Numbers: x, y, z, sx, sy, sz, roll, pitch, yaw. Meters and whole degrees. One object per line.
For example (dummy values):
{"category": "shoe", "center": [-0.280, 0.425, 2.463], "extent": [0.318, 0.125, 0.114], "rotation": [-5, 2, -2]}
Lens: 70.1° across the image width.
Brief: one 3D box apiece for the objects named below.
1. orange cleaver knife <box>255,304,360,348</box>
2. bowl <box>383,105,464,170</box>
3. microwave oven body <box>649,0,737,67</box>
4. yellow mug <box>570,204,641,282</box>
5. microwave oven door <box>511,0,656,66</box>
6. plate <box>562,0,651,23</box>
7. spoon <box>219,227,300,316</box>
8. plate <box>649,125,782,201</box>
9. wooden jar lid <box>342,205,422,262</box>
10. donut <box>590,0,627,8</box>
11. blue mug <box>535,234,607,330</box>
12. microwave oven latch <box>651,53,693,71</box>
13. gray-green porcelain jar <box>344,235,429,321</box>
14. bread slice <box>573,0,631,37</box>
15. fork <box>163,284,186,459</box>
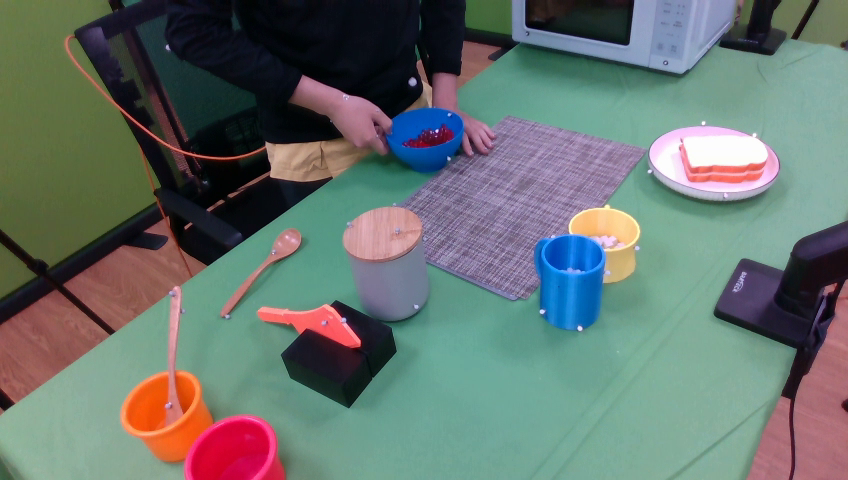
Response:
{"category": "orange cleaver knife", "center": [-0.161, 0.115, 0.813], "extent": [0.210, 0.077, 0.012], "rotation": [-4, 32, 46]}
{"category": "bowl", "center": [0.002, -0.185, 1.143], "extent": [0.151, 0.077, 0.150], "rotation": [-4, 41, 4]}
{"category": "microwave oven body", "center": [0.475, -0.602, 1.411], "extent": [0.438, 0.261, 0.327], "rotation": [23, 50, 32]}
{"category": "yellow mug", "center": [0.268, -0.005, 0.904], "extent": [0.099, 0.064, 0.130], "rotation": [7, 42, 15]}
{"category": "microwave oven door", "center": [0.351, -0.539, 1.349], "extent": [0.353, 0.245, 0.039], "rotation": [24, 50, 31]}
{"category": "plate", "center": [0.440, -0.573, 1.455], "extent": [0.209, 0.038, 0.208], "rotation": [-6, 43, 6]}
{"category": "spoon", "center": [-0.261, 0.046, 0.954], "extent": [0.041, 0.021, 0.194], "rotation": [27, 48, 10]}
{"category": "plate", "center": [0.493, -0.128, 1.036], "extent": [0.207, 0.039, 0.206], "rotation": [-4, 41, 4]}
{"category": "wooden jar lid", "center": [-0.055, -0.006, 0.808], "extent": [0.108, 0.021, 0.108], "rotation": [-6, 41, 6]}
{"category": "donut", "center": [0.438, -0.587, 1.433], "extent": [0.099, 0.048, 0.098], "rotation": [-2, 53, 3]}
{"category": "blue mug", "center": [0.190, 0.048, 0.824], "extent": [0.082, 0.106, 0.115], "rotation": [-26, 44, -21]}
{"category": "microwave oven latch", "center": [0.532, -0.386, 1.301], "extent": [0.078, 0.029, 0.030], "rotation": [27, 52, 34]}
{"category": "gray-green porcelain jar", "center": [-0.049, 0.042, 0.849], "extent": [0.106, 0.127, 0.105], "rotation": [-4, 41, 4]}
{"category": "bread slice", "center": [0.429, -0.558, 1.478], "extent": [0.105, 0.019, 0.131], "rotation": [-27, 69, -19]}
{"category": "fork", "center": [-0.302, 0.157, 0.733], "extent": [0.028, 0.019, 0.207], "rotation": [-4, 84, 16]}
